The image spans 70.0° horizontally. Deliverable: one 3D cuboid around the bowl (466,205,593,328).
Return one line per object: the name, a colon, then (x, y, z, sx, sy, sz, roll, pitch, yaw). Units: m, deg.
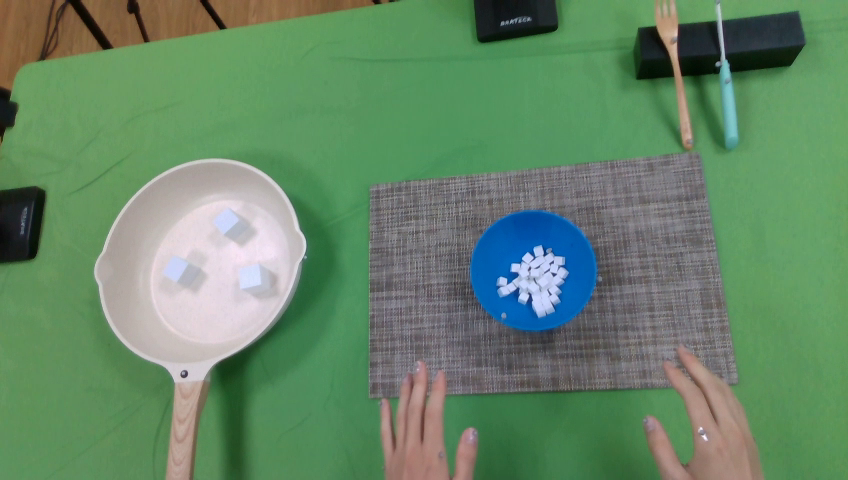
bowl: (0.131, 0.040, 0.753, 0.151, 0.077, 0.150, -3, 73, 10)

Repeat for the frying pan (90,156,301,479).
frying pan: (-0.304, 0.122, 0.799, 0.306, 0.103, 0.484, -6, 64, 10)

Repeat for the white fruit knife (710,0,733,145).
white fruit knife: (0.381, -0.228, 0.785, 0.016, 0.027, 0.207, -6, 89, 15)

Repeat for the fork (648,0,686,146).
fork: (0.323, -0.227, 0.796, 0.028, 0.018, 0.207, -11, 93, 3)
